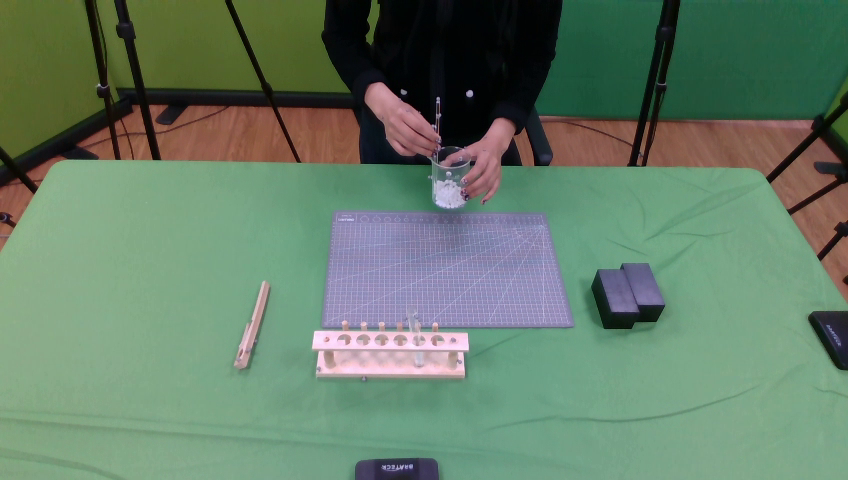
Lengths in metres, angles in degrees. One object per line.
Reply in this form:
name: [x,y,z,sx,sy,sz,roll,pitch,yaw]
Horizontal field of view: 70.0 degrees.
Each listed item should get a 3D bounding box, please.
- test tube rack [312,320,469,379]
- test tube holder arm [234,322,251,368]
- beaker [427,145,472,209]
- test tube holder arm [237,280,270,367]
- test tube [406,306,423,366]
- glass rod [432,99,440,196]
test tube rack: [-0.054,0.173,0.984,0.242,0.085,0.066,1,46,-3]
test tube holder arm: [-0.299,0.173,1.013,0.010,0.015,0.087,-17,41,22]
beaker: [0.047,-0.116,1.136,0.084,0.101,0.073,10,41,12]
test tube holder arm: [-0.291,0.140,1.042,0.013,0.015,0.177,-17,41,22]
test tube: [-0.013,0.152,0.939,0.017,0.151,0.017,-3,48,3]
glass rod: [0.021,-0.164,1.108,0.008,0.200,0.008,1,38,-1]
